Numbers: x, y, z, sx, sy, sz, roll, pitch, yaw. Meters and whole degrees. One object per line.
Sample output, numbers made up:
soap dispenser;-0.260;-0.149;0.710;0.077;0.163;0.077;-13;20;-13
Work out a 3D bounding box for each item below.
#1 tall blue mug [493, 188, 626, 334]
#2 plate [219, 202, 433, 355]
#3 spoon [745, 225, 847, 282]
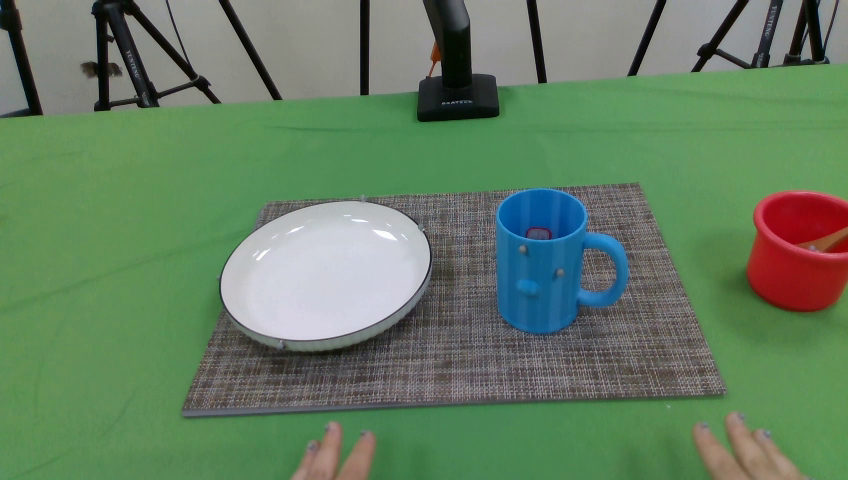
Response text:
tall blue mug;0.117;0.018;0.540;0.107;0.109;0.077;-7;38;-1
plate;-0.093;0.037;0.603;0.207;0.039;0.205;-3;39;3
spoon;0.374;-0.010;0.519;0.194;0.022;0.041;-36;24;39
